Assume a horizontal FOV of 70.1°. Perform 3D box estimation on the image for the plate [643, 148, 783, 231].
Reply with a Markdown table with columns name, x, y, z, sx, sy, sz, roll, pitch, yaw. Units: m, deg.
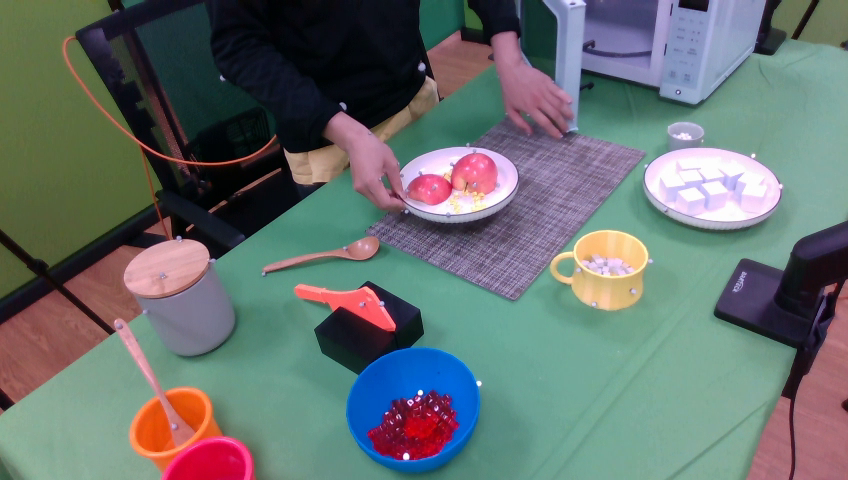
| name | x | y | z | sx | sy | sz | roll | pitch | yaw |
| --- | --- | --- | --- | --- | --- | --- | --- | --- | --- |
| plate | 0.464 | -0.080 | 0.986 | 0.207 | 0.039 | 0.206 | -4 | 40 | 4 |

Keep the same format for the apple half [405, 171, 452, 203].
| name | x | y | z | sx | sy | sz | roll | pitch | yaw |
| --- | --- | --- | --- | --- | --- | --- | --- | --- | --- |
| apple half | 0.008 | -0.097 | 1.008 | 0.081 | 0.033 | 0.081 | -1 | 40 | 1 |

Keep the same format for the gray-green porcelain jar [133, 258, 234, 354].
| name | x | y | z | sx | sy | sz | roll | pitch | yaw |
| --- | --- | --- | --- | --- | --- | --- | --- | --- | --- |
| gray-green porcelain jar | -0.328 | 0.086 | 0.836 | 0.106 | 0.127 | 0.105 | -4 | 41 | 4 |

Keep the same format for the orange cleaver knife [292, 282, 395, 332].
| name | x | y | z | sx | sy | sz | roll | pitch | yaw |
| --- | --- | --- | --- | --- | --- | --- | --- | --- | --- |
| orange cleaver knife | -0.116 | 0.091 | 0.835 | 0.209 | 0.077 | 0.012 | 2 | 32 | 48 |

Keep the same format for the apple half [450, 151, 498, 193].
| name | x | y | z | sx | sy | sz | roll | pitch | yaw |
| --- | --- | --- | --- | --- | --- | --- | --- | --- | --- |
| apple half | 0.085 | -0.121 | 1.012 | 0.080 | 0.053 | 0.075 | 20 | 43 | 29 |

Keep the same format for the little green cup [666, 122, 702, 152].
| name | x | y | z | sx | sy | sz | roll | pitch | yaw |
| --- | --- | --- | --- | --- | --- | --- | --- | --- | --- |
| little green cup | 0.471 | -0.184 | 1.102 | 0.061 | 0.039 | 0.061 | -5 | 41 | 5 |

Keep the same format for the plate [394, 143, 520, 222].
| name | x | y | z | sx | sy | sz | roll | pitch | yaw |
| --- | --- | --- | --- | --- | --- | --- | --- | --- | --- |
| plate | 0.055 | -0.093 | 1.006 | 0.209 | 0.038 | 0.208 | -4 | 39 | 4 |

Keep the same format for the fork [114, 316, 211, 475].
| name | x | y | z | sx | sy | sz | roll | pitch | yaw |
| --- | --- | --- | --- | --- | --- | --- | --- | --- | --- |
| fork | -0.309 | 0.179 | 0.708 | 0.028 | 0.018 | 0.207 | -29 | 89 | -22 |

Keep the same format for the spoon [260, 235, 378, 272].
| name | x | y | z | sx | sy | sz | roll | pitch | yaw |
| --- | --- | --- | --- | --- | --- | --- | --- | --- | --- |
| spoon | -0.167 | 0.024 | 0.966 | 0.194 | 0.022 | 0.041 | -10 | 58 | -3 |

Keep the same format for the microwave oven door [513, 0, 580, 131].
| name | x | y | z | sx | sy | sz | roll | pitch | yaw |
| --- | --- | --- | --- | --- | --- | --- | --- | --- | --- |
| microwave oven door | 0.242 | -0.414 | 1.221 | 0.039 | 0.245 | 0.353 | -10 | 41 | -3 |

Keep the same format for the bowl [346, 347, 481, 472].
| name | x | y | z | sx | sy | sz | roll | pitch | yaw |
| --- | --- | --- | --- | --- | --- | --- | --- | --- | --- |
| bowl | -0.008 | 0.205 | 0.691 | 0.151 | 0.077 | 0.150 | -4 | 40 | 4 |

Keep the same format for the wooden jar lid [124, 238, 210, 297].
| name | x | y | z | sx | sy | sz | roll | pitch | yaw |
| --- | --- | --- | --- | --- | --- | --- | --- | --- | --- |
| wooden jar lid | -0.335 | 0.038 | 0.794 | 0.108 | 0.021 | 0.108 | -2 | 40 | 2 |

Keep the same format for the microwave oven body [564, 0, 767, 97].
| name | x | y | z | sx | sy | sz | roll | pitch | yaw |
| --- | --- | --- | --- | --- | --- | --- | --- | --- | --- |
| microwave oven body | 0.473 | -0.516 | 1.314 | 0.438 | 0.261 | 0.327 | 26 | 51 | 34 |

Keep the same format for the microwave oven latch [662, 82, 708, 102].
| name | x | y | z | sx | sy | sz | roll | pitch | yaw |
| --- | --- | --- | --- | --- | --- | --- | --- | --- | --- |
| microwave oven latch | 0.518 | -0.298 | 1.202 | 0.078 | 0.029 | 0.030 | 28 | 53 | 35 |

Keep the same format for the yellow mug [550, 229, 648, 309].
| name | x | y | z | sx | sy | sz | roll | pitch | yaw |
| --- | --- | --- | --- | --- | --- | --- | --- | --- | --- |
| yellow mug | 0.245 | 0.040 | 0.856 | 0.130 | 0.064 | 0.099 | 1 | 41 | 11 |
